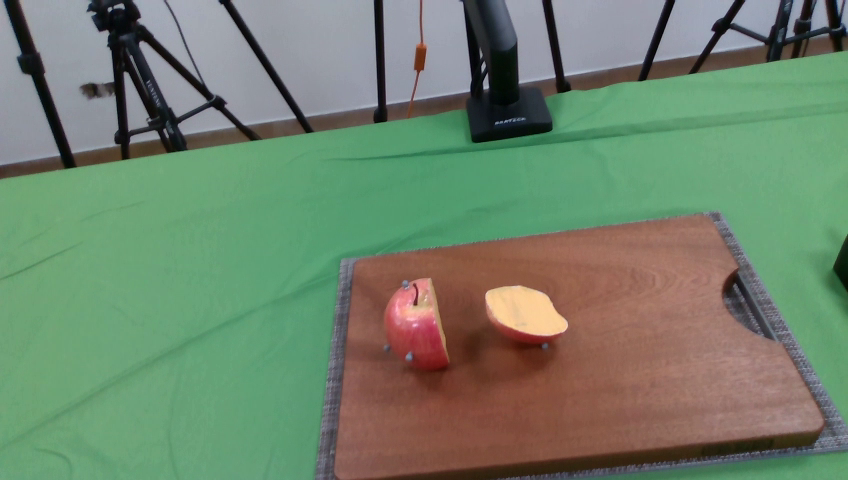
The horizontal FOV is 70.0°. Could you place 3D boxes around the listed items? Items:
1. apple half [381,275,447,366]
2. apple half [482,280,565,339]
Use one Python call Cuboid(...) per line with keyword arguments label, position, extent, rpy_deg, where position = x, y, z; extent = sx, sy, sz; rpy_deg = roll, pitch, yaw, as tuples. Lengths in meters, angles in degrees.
Cuboid(label="apple half", position=(-0.012, 0.079, 0.561), extent=(0.053, 0.075, 0.080), rpy_deg=(-16, 46, 2))
Cuboid(label="apple half", position=(0.088, 0.072, 0.571), extent=(0.081, 0.033, 0.080), rpy_deg=(11, 29, -6))
